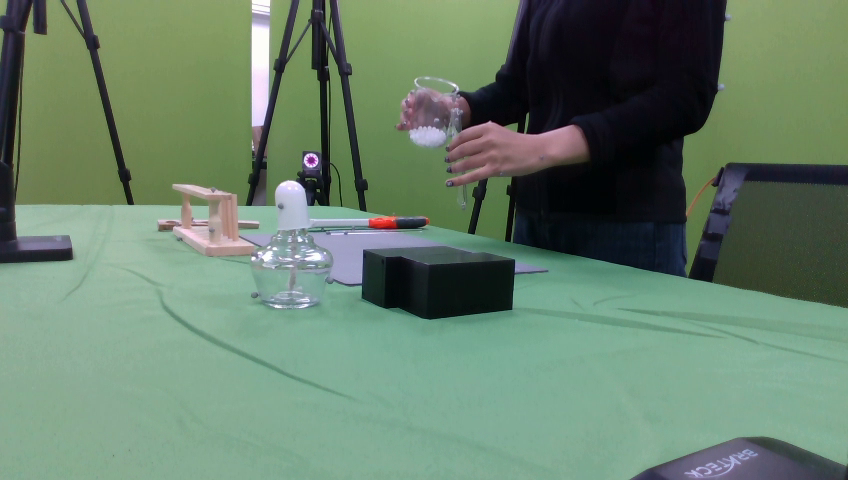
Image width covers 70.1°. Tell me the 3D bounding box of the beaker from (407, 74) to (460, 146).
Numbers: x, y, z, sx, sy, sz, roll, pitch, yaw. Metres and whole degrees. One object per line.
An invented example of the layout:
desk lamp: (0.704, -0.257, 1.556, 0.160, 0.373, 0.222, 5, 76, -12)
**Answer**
beaker: (0.013, -0.213, 1.004, 0.074, 0.100, 0.084, 8, 34, -6)

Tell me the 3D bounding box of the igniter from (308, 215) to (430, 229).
igniter: (-0.109, -0.037, 1.228, 0.278, 0.025, 0.057, -3, -1, -35)

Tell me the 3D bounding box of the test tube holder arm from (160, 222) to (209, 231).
test tube holder arm: (-0.423, -0.024, 1.075, 0.088, 0.015, 0.010, -3, 44, -38)

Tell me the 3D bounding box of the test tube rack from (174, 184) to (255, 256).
test tube rack: (-0.327, -0.036, 0.928, 0.067, 0.085, 0.241, -2, 9, -32)

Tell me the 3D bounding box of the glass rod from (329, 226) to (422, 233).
glass rod: (-0.087, -0.020, 1.148, 0.201, 0.008, 0.008, -3, 9, -33)

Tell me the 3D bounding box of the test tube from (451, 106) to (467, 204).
test tube: (0.054, -0.130, 0.925, 0.017, 0.150, 0.017, -4, -1, 0)

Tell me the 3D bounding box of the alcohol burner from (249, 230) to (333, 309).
alcohol burner: (-0.125, 0.004, 0.568, 0.078, 0.119, 0.078, 2, 10, 0)

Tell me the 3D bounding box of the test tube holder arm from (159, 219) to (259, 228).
test tube holder arm: (-0.390, -0.030, 1.107, 0.179, 0.015, 0.013, -3, 44, -39)

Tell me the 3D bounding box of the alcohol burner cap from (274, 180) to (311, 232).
alcohol burner cap: (-0.125, -0.032, 0.564, 0.034, 0.048, 0.034, -5, 6, 1)
